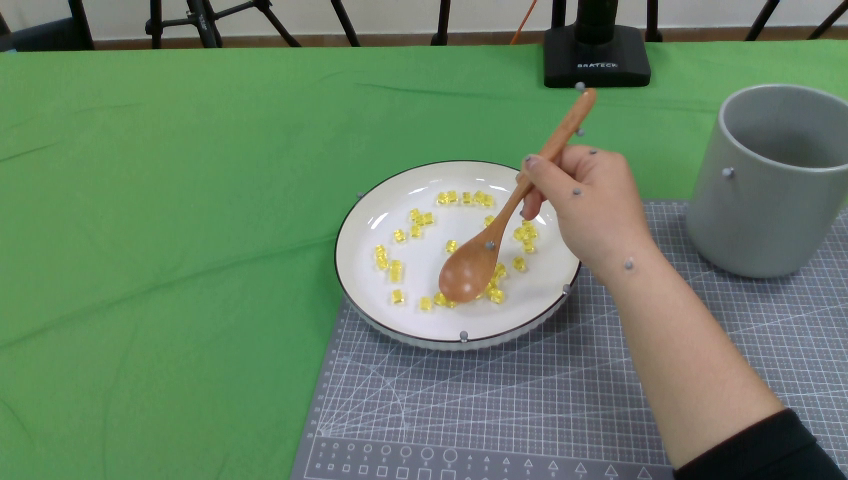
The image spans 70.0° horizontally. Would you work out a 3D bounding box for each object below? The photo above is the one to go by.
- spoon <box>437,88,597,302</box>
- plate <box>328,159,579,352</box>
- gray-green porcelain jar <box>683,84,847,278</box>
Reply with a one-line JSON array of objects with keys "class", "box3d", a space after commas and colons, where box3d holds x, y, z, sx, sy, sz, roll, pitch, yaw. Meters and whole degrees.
[{"class": "spoon", "box3d": [0.071, -0.031, 0.463, 0.041, 0.194, 0.022, 43, 21, 25]}, {"class": "plate", "box3d": [0.024, 0.012, 0.518, 0.207, 0.039, 0.205, -3, 47, 3]}, {"class": "gray-green porcelain jar", "box3d": [0.270, -0.041, 0.480, 0.106, 0.128, 0.105, -3, 47, 4]}]
